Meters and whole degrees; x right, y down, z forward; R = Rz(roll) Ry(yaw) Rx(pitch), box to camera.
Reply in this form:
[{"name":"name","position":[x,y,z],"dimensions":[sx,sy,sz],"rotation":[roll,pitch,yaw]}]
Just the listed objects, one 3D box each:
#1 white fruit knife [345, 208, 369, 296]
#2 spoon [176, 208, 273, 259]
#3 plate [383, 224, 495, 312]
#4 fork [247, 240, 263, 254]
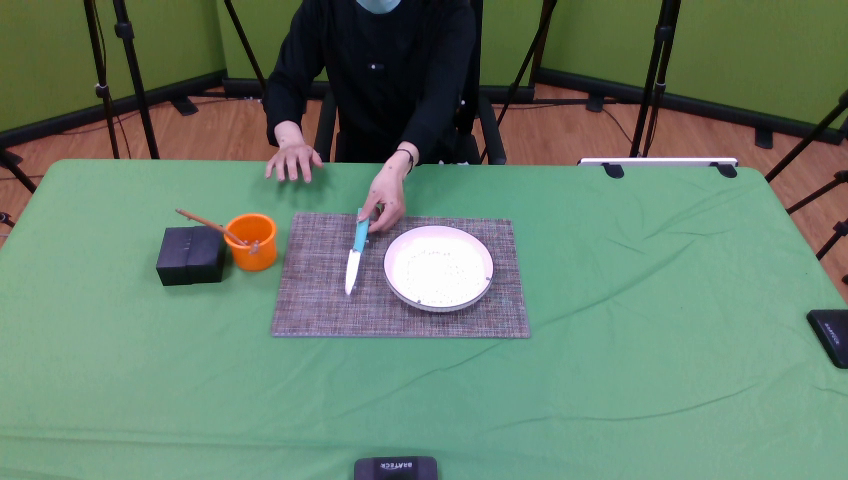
[{"name":"white fruit knife","position":[-0.126,0.019,1.141],"dimensions":[0.027,0.016,0.206],"rotation":[-3,52,12]},{"name":"spoon","position":[-0.355,-0.011,1.088],"dimensions":[0.041,0.195,0.021],"rotation":[21,77,54]},{"name":"plate","position":[0.026,0.055,1.128],"dimensions":[0.209,0.038,0.208],"rotation":[2,46,-2]},{"name":"fork","position":[-0.301,0.011,1.075],"dimensions":[0.028,0.018,0.207],"rotation":[3,0,-15]}]
